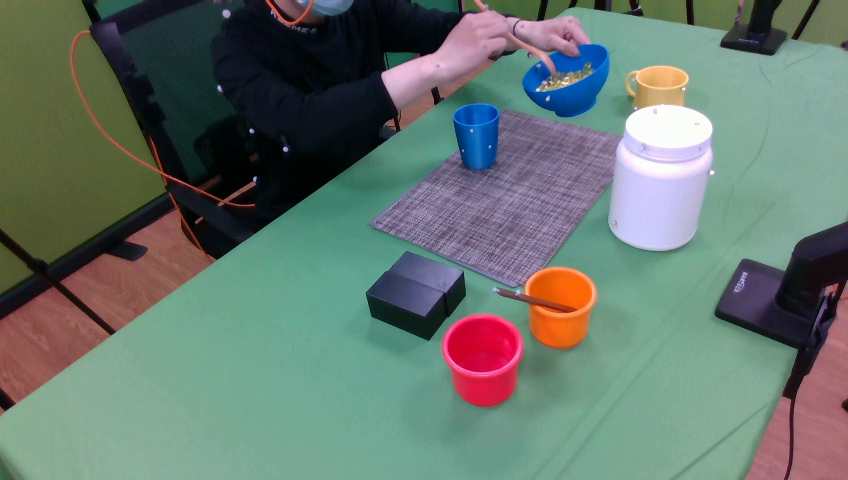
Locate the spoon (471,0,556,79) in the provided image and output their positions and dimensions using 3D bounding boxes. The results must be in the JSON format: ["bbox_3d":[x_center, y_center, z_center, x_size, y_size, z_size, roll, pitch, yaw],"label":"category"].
[{"bbox_3d":[0.152,-0.338,1.014,0.194,0.021,0.041,35,27,-10],"label":"spoon"}]

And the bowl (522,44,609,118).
[{"bbox_3d":[0.253,-0.266,1.049,0.151,0.077,0.150,-19,35,15],"label":"bowl"}]

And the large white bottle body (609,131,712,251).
[{"bbox_3d":[0.351,-0.090,0.903,0.130,0.185,0.130,-5,41,4],"label":"large white bottle body"}]

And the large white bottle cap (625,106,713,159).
[{"bbox_3d":[0.342,-0.153,0.848,0.115,0.018,0.114,-4,41,4],"label":"large white bottle cap"}]

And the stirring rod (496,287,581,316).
[{"bbox_3d":[0.150,0.080,0.773,0.178,0.006,0.014,17,21,-42],"label":"stirring rod"}]

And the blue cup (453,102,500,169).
[{"bbox_3d":[0.099,-0.188,1.115,0.092,0.100,0.092,-4,39,4],"label":"blue cup"}]

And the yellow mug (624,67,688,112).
[{"bbox_3d":[0.464,-0.306,1.230,0.100,0.064,0.129,-34,46,-27],"label":"yellow mug"}]
